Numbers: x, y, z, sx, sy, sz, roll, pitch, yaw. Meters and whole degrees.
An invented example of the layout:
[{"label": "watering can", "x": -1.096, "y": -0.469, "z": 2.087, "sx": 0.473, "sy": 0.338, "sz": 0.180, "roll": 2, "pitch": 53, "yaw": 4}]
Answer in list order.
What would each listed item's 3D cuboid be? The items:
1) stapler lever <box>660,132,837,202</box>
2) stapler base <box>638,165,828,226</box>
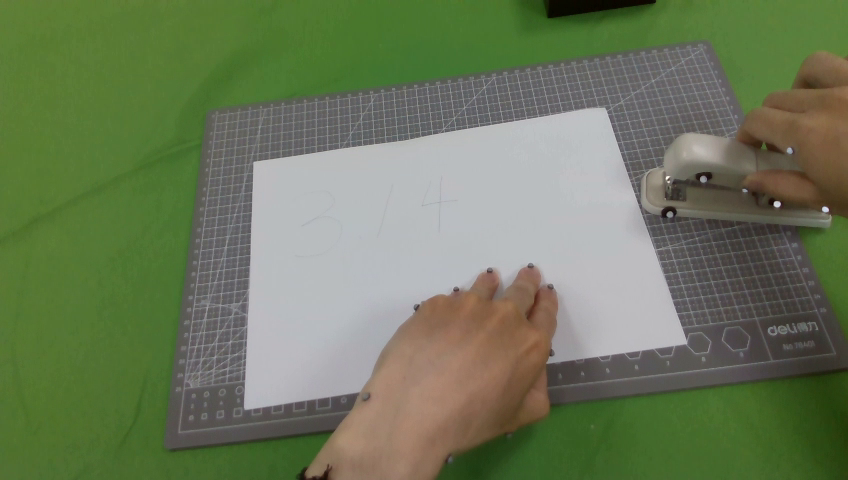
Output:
[{"label": "stapler lever", "x": 0.225, "y": -0.051, "z": 0.418, "sx": 0.118, "sy": 0.040, "sz": 0.026, "roll": 6, "pitch": 63, "yaw": 8}, {"label": "stapler base", "x": 0.225, "y": -0.038, "z": 0.440, "sx": 0.130, "sy": 0.024, "sz": 0.041, "roll": 6, "pitch": 63, "yaw": 8}]
